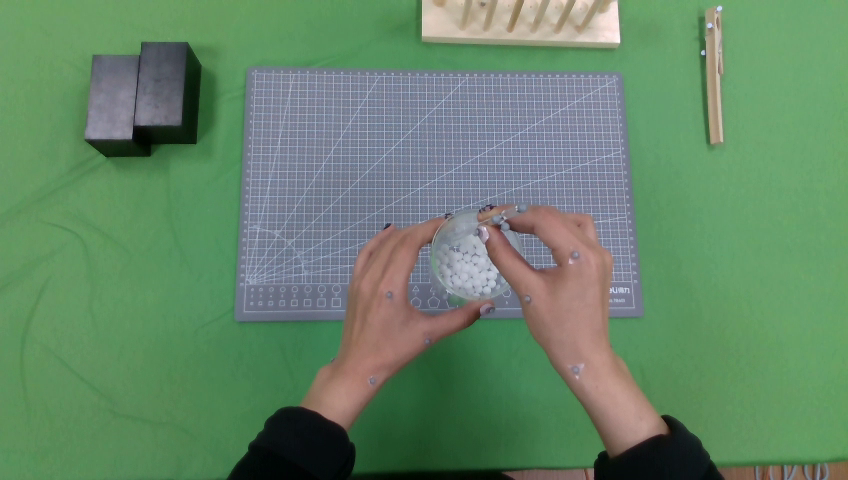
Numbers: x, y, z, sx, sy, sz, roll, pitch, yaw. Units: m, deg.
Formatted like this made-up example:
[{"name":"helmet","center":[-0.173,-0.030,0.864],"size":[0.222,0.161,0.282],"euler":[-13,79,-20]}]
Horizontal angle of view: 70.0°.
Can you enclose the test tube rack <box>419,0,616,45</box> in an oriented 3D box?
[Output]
[{"name":"test tube rack","center":[0.116,-0.286,0.712],"size":[0.242,0.085,0.066],"euler":[1,77,-3]}]

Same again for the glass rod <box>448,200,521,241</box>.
[{"name":"glass rod","center":[0.041,-0.011,0.471],"size":[0.008,0.199,0.008],"euler":[1,84,-10]}]

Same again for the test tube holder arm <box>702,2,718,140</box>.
[{"name":"test tube holder arm","center":[0.350,-0.208,0.740],"size":[0.013,0.015,0.177],"euler":[13,76,-31]}]

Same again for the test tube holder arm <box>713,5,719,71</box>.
[{"name":"test tube holder arm","center":[0.358,-0.250,0.753],"size":[0.010,0.015,0.087],"euler":[13,76,-30]}]

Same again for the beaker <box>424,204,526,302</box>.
[{"name":"beaker","center":[0.040,0.017,0.527],"size":[0.084,0.100,0.074],"euler":[19,80,0]}]
